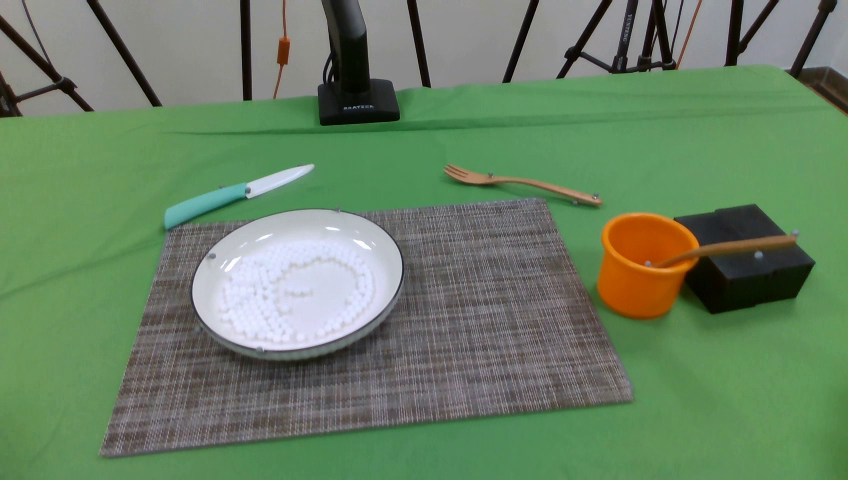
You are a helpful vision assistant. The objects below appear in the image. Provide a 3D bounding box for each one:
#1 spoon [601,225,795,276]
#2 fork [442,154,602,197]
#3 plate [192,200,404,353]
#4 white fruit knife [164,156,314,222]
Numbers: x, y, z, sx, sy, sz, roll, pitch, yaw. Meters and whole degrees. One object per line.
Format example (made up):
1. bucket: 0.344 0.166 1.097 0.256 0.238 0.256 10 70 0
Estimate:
1. spoon: 0.246 0.009 0.567 0.041 0.193 0.021 -28 92 -34
2. fork: 0.121 -0.081 0.769 0.206 0.019 0.028 12 37 16
3. plate: -0.123 0.036 0.615 0.209 0.038 0.207 0 41 0
4. white fruit knife: -0.227 -0.071 0.760 0.207 0.016 0.027 -27 71 -32
